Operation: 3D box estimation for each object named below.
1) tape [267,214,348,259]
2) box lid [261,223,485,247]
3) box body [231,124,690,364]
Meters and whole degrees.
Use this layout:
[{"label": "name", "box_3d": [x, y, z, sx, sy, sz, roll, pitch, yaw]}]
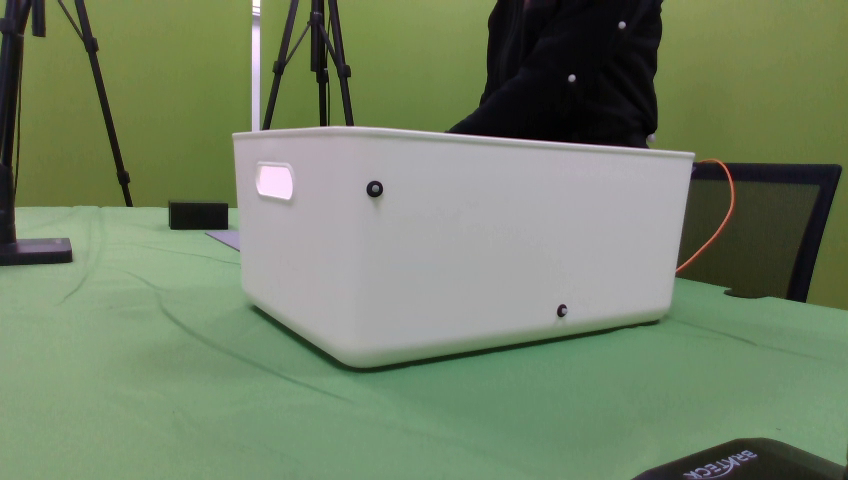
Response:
[{"label": "tape", "box_3d": [-0.165, -0.007, 0.868, 0.117, 0.052, 0.117, 2, 8, 0]}, {"label": "box lid", "box_3d": [-0.100, -0.009, 1.085, 0.373, 0.015, 0.262, 0, 7, -15]}, {"label": "box body", "box_3d": [0.031, -0.013, 0.563, 0.366, 0.160, 0.253, -3, 8, -33]}]
